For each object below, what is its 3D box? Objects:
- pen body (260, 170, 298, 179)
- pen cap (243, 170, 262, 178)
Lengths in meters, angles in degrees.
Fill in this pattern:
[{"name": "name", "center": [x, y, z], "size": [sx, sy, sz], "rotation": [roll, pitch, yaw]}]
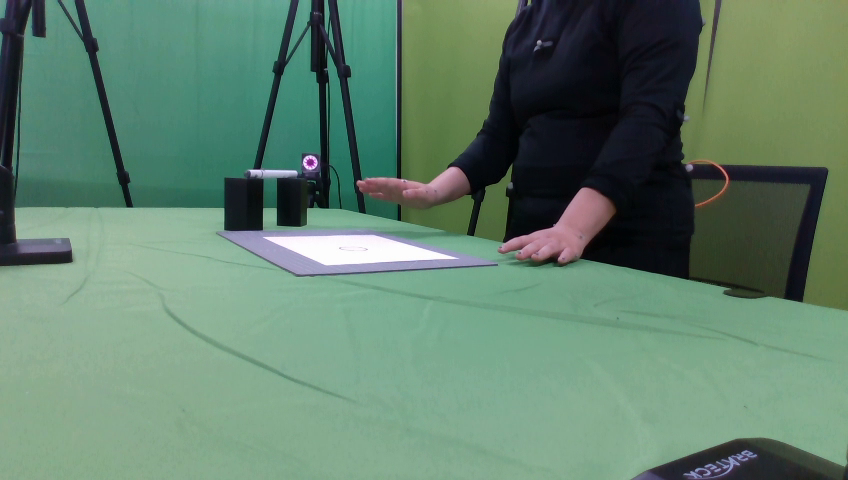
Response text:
[{"name": "pen body", "center": [-0.301, -0.131, 1.211], "size": [0.017, 0.017, 0.144], "rotation": [6, 8, 24]}, {"name": "pen cap", "center": [-0.328, -0.126, 1.154], "size": [0.017, 0.017, 0.038], "rotation": [6, 9, 22]}]
